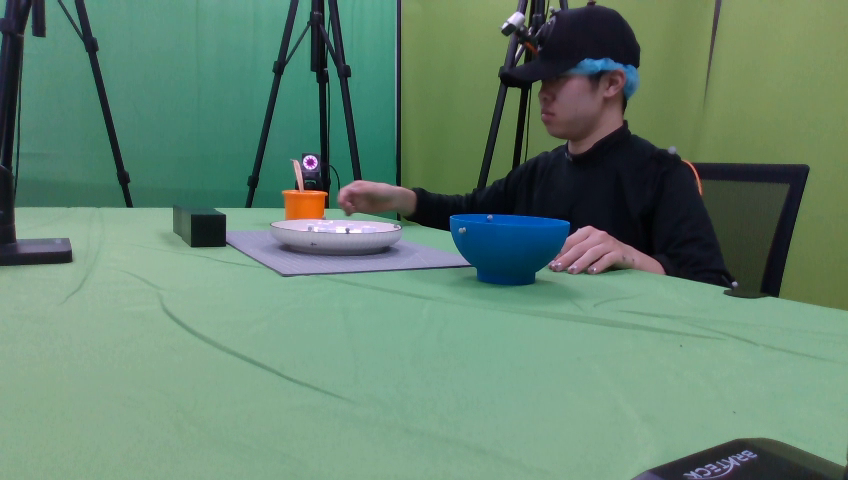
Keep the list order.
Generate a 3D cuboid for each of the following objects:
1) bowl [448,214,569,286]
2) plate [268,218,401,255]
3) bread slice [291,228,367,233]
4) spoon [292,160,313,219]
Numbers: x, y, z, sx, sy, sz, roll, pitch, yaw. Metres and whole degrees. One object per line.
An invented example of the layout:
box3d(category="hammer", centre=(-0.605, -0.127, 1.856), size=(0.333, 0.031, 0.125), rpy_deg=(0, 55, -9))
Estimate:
box3d(category="bowl", centre=(0.102, 0.012, 0.758), size=(0.151, 0.077, 0.151), rpy_deg=(3, 8, 0))
box3d(category="plate", centre=(-0.140, -0.006, 0.958), size=(0.209, 0.038, 0.209), rpy_deg=(3, 7, 0))
box3d(category="bread slice", centre=(-0.143, -0.003, 0.953), size=(0.135, 0.018, 0.106), rpy_deg=(-2, 9, -37))
box3d(category="spoon", centre=(-0.259, -0.103, 1.268), size=(0.042, 0.193, 0.021), rpy_deg=(3, -38, -23))
